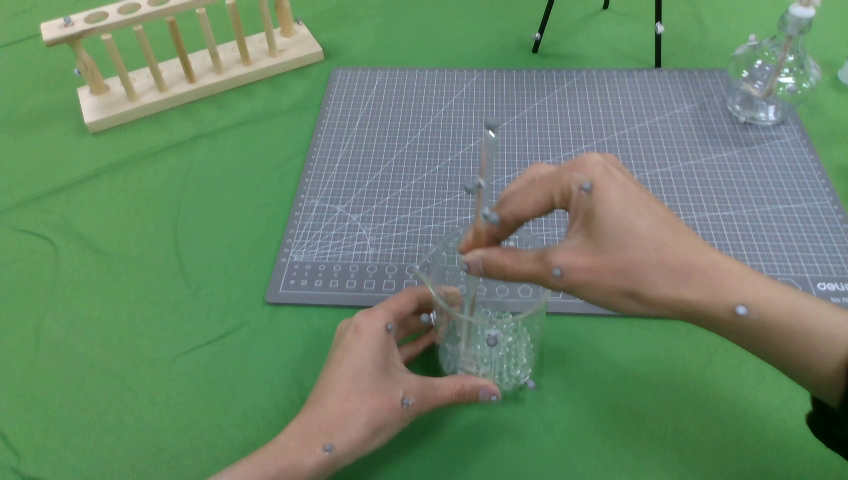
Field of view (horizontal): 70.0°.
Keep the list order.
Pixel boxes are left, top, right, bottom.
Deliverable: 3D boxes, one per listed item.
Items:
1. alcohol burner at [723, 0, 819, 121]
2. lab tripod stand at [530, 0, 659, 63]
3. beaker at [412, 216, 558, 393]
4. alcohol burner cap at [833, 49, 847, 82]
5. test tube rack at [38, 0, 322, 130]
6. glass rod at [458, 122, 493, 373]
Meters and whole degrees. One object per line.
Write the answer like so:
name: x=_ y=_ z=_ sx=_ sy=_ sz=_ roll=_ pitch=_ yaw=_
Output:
alcohol burner: x=0.306 y=-0.164 z=0.525 sx=0.078 sy=0.120 sz=0.077 roll=-1 pitch=53 yaw=2
lab tripod stand: x=0.184 y=-0.260 z=0.601 sx=0.148 sy=0.132 sz=0.147 roll=0 pitch=50 yaw=1
beaker: x=0.037 y=0.045 z=0.382 sx=0.084 sy=0.101 sz=0.073 roll=4 pitch=51 yaw=8
alcohol burner cap: x=0.422 y=-0.179 z=0.582 sx=0.034 sy=0.048 sz=0.033 roll=-1 pitch=50 yaw=2
test tube rack: x=-0.233 y=-0.199 z=0.604 sx=0.242 sy=0.086 sz=0.066 roll=-23 pitch=53 yaw=-15
glass rod: x=0.026 y=0.019 z=0.334 sx=0.008 sy=0.201 sz=0.008 roll=0 pitch=47 yaw=0
